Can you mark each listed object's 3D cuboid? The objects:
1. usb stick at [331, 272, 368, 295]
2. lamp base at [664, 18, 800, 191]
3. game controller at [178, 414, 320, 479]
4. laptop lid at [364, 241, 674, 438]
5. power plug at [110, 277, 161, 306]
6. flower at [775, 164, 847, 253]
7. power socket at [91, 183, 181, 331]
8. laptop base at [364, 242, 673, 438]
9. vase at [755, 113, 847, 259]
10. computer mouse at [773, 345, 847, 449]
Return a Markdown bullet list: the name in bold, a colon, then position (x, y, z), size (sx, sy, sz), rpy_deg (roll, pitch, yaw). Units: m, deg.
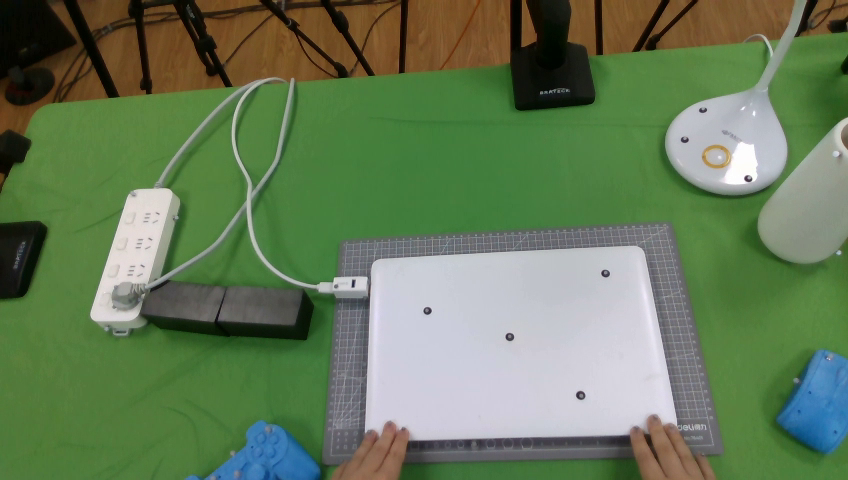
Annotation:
- **usb stick**: position (-0.089, 0.056, 0.784), size (0.059, 0.027, 0.021), rpy_deg (1, 58, 2)
- **lamp base**: position (0.416, -0.183, 0.781), size (0.159, 0.182, 0.178), rpy_deg (28, 65, 20)
- **game controller**: position (-0.205, 0.269, 0.681), size (0.155, 0.052, 0.096), rpy_deg (-37, 61, -14)
- **laptop lid**: position (0.103, 0.115, 0.733), size (0.356, 0.013, 0.239), rpy_deg (-2, 64, 5)
- **power plug**: position (-0.374, 0.072, 0.792), size (0.072, 0.053, 0.035), rpy_deg (9, 63, 9)
- **flower**: position (0.467, -0.107, 0.628), size (0.038, 0.364, 0.043), rpy_deg (-7, 50, -17)
- **power socket**: position (-0.399, 0.016, 0.847), size (0.072, 0.033, 0.225), rpy_deg (0, 61, 5)
- **laptop base**: position (0.104, 0.117, 0.744), size (0.354, 0.023, 0.233), rpy_deg (-3, 66, 4)
- **vase**: position (0.460, -0.058, 0.697), size (0.098, 0.202, 0.097), rpy_deg (-4, 60, 7)
- **computer mouse**: position (0.441, 0.169, 0.668), size (0.062, 0.041, 0.117), rpy_deg (36, 66, 26)
